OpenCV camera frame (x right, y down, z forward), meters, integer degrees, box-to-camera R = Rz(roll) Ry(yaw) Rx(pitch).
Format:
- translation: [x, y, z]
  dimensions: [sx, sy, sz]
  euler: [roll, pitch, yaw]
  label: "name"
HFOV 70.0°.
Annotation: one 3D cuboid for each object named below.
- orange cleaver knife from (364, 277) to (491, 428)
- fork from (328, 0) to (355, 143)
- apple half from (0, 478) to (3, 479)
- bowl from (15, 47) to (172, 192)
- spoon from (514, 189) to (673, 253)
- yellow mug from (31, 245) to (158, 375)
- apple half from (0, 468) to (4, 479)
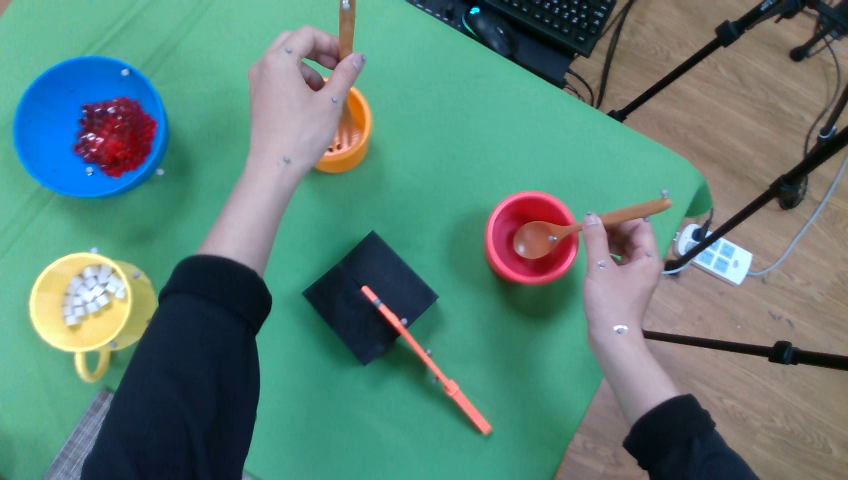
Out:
- translation: [0.005, 0.119, 0.630]
  dimensions: [0.012, 0.076, 0.213]
  euler: [-40, 118, -6]
  label: "orange cleaver knife"
- translation: [-0.073, -0.151, 0.556]
  dimensions: [0.028, 0.208, 0.018]
  euler: [-8, 69, -12]
  label: "fork"
- translation: [-0.463, 0.263, 0.593]
  dimensions: [0.081, 0.074, 0.053]
  euler: [11, 86, -5]
  label: "apple half"
- translation: [-0.337, -0.118, 0.649]
  dimensions: [0.151, 0.077, 0.151]
  euler: [0, 83, -3]
  label: "bowl"
- translation: [0.158, -0.020, 0.599]
  dimensions: [0.022, 0.193, 0.041]
  euler: [-3, 81, -32]
  label: "spoon"
- translation: [-0.339, 0.074, 0.629]
  dimensions: [0.100, 0.064, 0.130]
  euler: [-1, 83, -3]
  label: "yellow mug"
- translation: [-0.457, 0.225, 0.597]
  dimensions: [0.081, 0.081, 0.032]
  euler: [10, 85, -1]
  label: "apple half"
